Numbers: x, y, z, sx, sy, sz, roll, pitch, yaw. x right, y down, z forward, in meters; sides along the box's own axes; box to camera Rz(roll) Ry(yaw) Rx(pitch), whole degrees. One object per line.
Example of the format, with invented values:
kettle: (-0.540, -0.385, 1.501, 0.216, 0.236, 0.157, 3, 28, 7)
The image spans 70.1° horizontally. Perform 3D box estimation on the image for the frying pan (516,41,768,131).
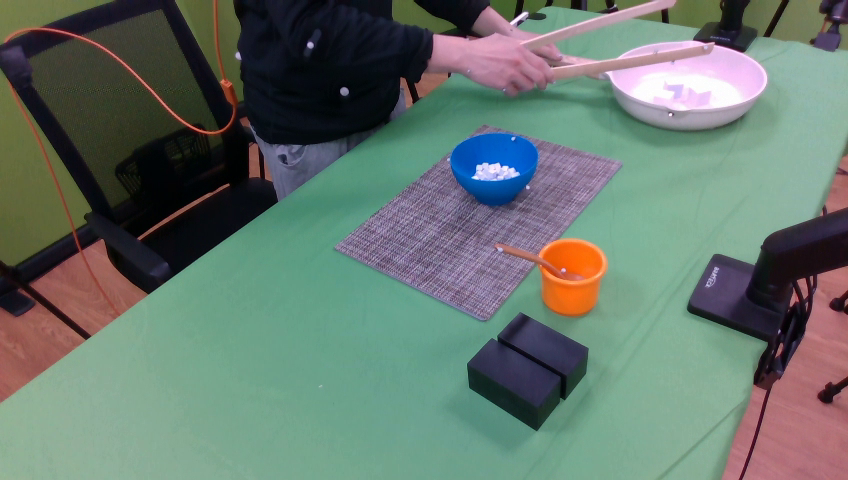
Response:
frying pan: (0.424, -0.338, 1.236, 0.486, 0.103, 0.307, 18, 45, 15)

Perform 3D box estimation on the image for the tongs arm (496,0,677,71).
tongs arm: (0.291, -0.367, 1.067, 0.389, 0.028, 0.028, -21, 67, -16)

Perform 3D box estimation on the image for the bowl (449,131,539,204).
bowl: (0.121, -0.114, 1.034, 0.151, 0.077, 0.150, -4, 41, 4)

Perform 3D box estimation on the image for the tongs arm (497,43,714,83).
tongs arm: (0.314, -0.311, 1.034, 0.386, 0.026, 0.050, -13, 62, -11)

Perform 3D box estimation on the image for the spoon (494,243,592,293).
spoon: (0.161, 0.034, 0.808, 0.021, 0.195, 0.041, -48, 40, 20)
